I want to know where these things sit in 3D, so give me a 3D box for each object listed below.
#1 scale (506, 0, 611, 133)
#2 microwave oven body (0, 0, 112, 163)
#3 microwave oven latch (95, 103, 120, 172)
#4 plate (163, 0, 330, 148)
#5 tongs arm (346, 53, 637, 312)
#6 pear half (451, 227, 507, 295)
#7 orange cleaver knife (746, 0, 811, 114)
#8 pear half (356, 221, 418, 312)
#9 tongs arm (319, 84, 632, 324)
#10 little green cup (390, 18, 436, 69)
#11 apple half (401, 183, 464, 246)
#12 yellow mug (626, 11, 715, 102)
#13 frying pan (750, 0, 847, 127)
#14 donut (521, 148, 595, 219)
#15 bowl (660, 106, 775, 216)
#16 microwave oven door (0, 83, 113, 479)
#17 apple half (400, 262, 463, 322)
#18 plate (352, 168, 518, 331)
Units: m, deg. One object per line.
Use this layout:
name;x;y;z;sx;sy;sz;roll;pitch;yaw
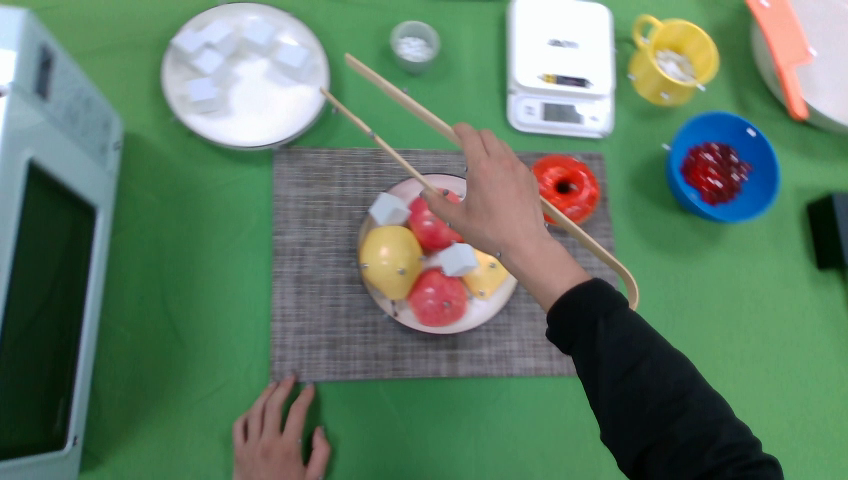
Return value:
scale;0.190;-0.252;0.857;0.149;0.031;0.200;4;77;-6
microwave oven body;-0.526;0.020;0.581;0.327;0.261;0.439;2;77;-7
microwave oven latch;-0.388;-0.124;0.731;0.030;0.029;0.079;4;77;-7
plate;-0.228;-0.213;0.791;0.208;0.039;0.206;2;77;-7
tongs arm;0.067;-0.063;0.617;0.387;0.028;0.028;40;80;2
pear half;0.069;0.023;0.764;0.070;0.031;0.087;-1;75;6
orange cleaver knife;0.503;-0.276;0.844;0.077;0.012;0.210;-10;78;-13
pear half;-0.041;0.032;0.732;0.076;0.056;0.109;-6;82;-17
tongs arm;0.050;-0.041;0.614;0.384;0.026;0.051;43;83;3
little green cup;-0.016;-0.267;0.831;0.061;0.039;0.061;2;76;-6
apple half;0.011;-0.034;0.759;0.075;0.053;0.080;-13;82;-7
yellow mug;0.339;-0.269;0.862;0.100;0.064;0.130;-33;82;-13
frying pan;0.666;-0.210;0.870;0.307;0.103;0.484;-27;74;-11
donut;0.177;-0.075;0.804;0.099;0.048;0.098;1;78;-4
bowl;0.382;-0.097;0.822;0.152;0.077;0.150;2;78;-7
microwave oven door;-0.381;0.065;0.583;0.039;0.244;0.354;2;76;-7
apple half;0.011;0.062;0.744;0.081;0.033;0.081;3;71;-9
plate;0.014;0.013;0.766;0.209;0.038;0.208;2;77;-7
